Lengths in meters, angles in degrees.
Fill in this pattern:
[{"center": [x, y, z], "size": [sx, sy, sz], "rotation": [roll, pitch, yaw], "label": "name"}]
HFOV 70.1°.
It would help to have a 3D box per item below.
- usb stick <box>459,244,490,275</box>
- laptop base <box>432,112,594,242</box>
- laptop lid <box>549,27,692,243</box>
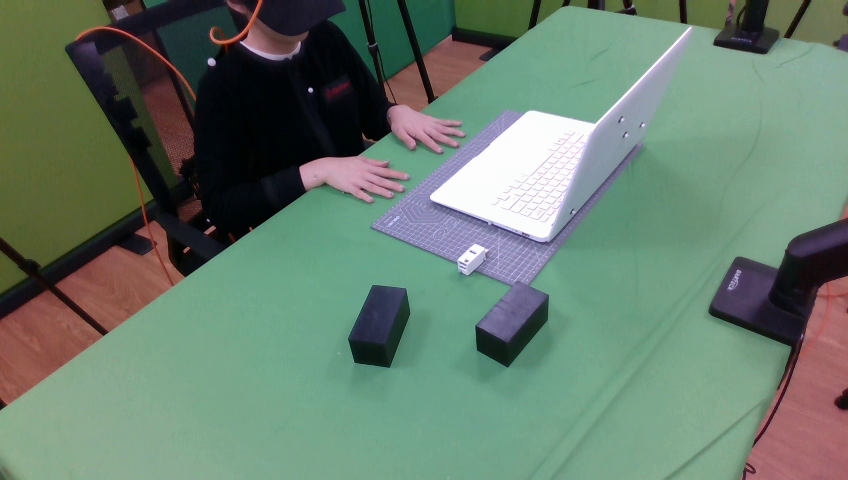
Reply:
[{"center": [0.080, 0.026, 0.926], "size": [0.021, 0.027, 0.059], "rotation": [27, 49, 33], "label": "usb stick"}, {"center": [0.208, -0.129, 1.098], "size": [0.233, 0.023, 0.355], "rotation": [20, 47, 34], "label": "laptop base"}, {"center": [0.311, -0.167, 0.948], "size": [0.013, 0.242, 0.358], "rotation": [33, 52, 20], "label": "laptop lid"}]
